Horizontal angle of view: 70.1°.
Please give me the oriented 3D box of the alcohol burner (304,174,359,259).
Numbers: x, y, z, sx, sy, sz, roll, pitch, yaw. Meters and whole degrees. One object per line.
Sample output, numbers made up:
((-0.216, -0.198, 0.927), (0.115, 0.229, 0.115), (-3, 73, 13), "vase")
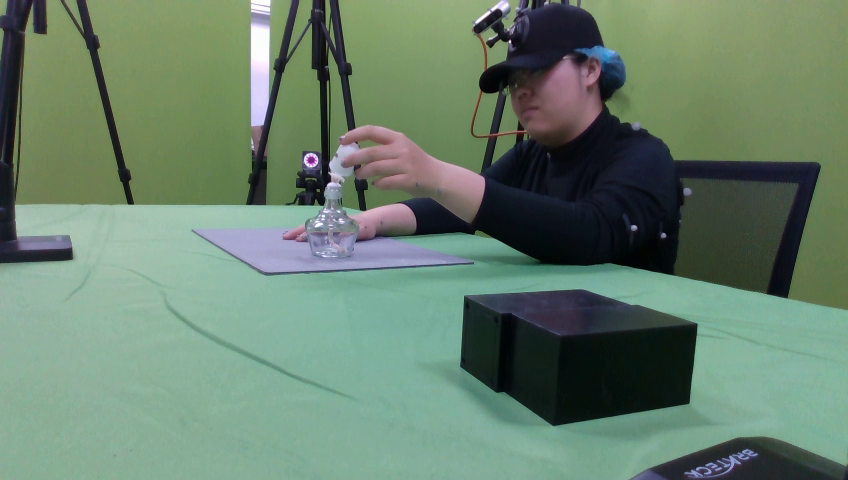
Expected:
((-0.130, -0.034, 0.851), (0.078, 0.119, 0.078), (2, 5, 0), "alcohol burner")

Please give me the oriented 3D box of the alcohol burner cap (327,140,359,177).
((-0.104, -0.111, 0.798), (0.034, 0.048, 0.034), (21, 37, -17), "alcohol burner cap")
